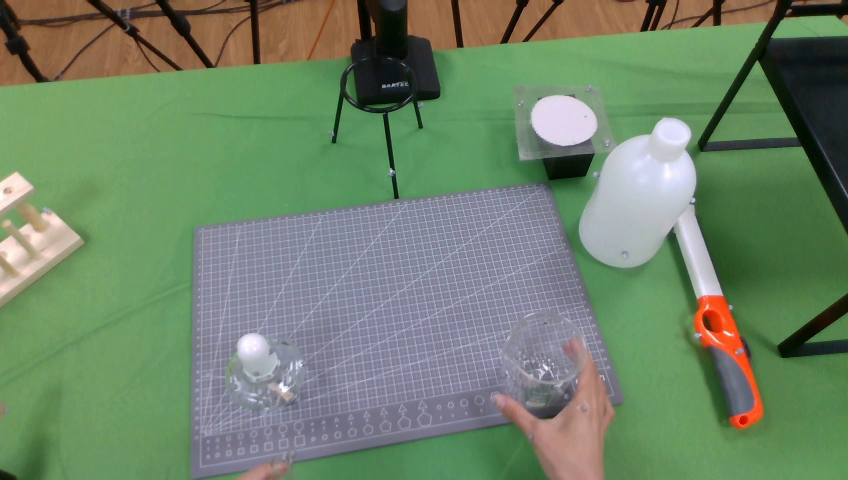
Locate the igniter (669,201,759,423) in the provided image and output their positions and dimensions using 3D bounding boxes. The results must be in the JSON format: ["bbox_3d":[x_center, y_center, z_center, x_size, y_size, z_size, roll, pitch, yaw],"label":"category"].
[{"bbox_3d":[0.327,0.072,0.697,0.057,0.025,0.274,3,59,-12],"label":"igniter"}]

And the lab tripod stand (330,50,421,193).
[{"bbox_3d":[-0.053,-0.152,0.755,0.148,0.132,0.147,2,60,-3],"label":"lab tripod stand"}]

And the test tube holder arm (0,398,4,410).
[{"bbox_3d":[-0.417,0.225,0.531,0.013,0.015,0.177,2,59,7],"label":"test tube holder arm"}]

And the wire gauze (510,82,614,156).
[{"bbox_3d":[0.176,-0.160,0.782,0.121,0.011,0.124,-1,59,-2],"label":"wire gauze"}]

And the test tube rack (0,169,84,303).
[{"bbox_3d":[-0.510,0.038,0.654,0.066,0.086,0.242,36,65,18],"label":"test tube rack"}]

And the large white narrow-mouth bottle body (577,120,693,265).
[{"bbox_3d":[0.238,-0.058,0.673,0.102,0.196,0.101,1,59,-1],"label":"large white narrow-mouth bottle body"}]

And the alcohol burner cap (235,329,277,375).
[{"bbox_3d":[-0.159,0.103,0.566,0.034,0.048,0.033,-1,54,1],"label":"alcohol burner cap"}]

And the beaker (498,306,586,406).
[{"bbox_3d":[0.112,0.122,0.614,0.084,0.101,0.073,-7,59,-4],"label":"beaker"}]

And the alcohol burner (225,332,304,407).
[{"bbox_3d":[-0.160,0.121,0.597,0.078,0.120,0.077,2,58,-3],"label":"alcohol burner"}]

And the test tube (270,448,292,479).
[{"bbox_3d":[-0.112,0.211,0.473,0.017,0.151,0.017,7,38,-5],"label":"test tube"}]

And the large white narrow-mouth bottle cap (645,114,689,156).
[{"bbox_3d":[0.240,-0.104,0.600,0.038,0.024,0.037,1,59,-1],"label":"large white narrow-mouth bottle cap"}]
